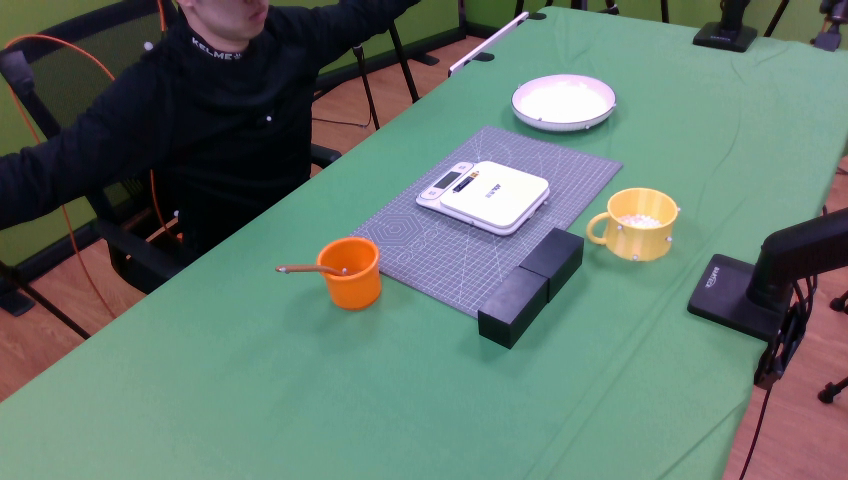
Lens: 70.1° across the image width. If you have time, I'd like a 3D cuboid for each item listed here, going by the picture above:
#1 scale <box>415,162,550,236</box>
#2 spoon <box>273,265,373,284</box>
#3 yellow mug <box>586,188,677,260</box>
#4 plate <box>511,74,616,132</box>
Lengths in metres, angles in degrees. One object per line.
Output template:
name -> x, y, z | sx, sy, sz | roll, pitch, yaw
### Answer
scale -> 0.099, -0.079, 1.035 | 0.199, 0.032, 0.149 | 23, 48, 31
spoon -> -0.136, 0.045, 0.839 | 0.041, 0.195, 0.021 | 18, 91, 33
yellow mug -> 0.311, -0.022, 0.916 | 0.131, 0.064, 0.099 | -8, 40, 0
plate -> 0.283, -0.276, 1.238 | 0.209, 0.038, 0.208 | -4, 41, 4
